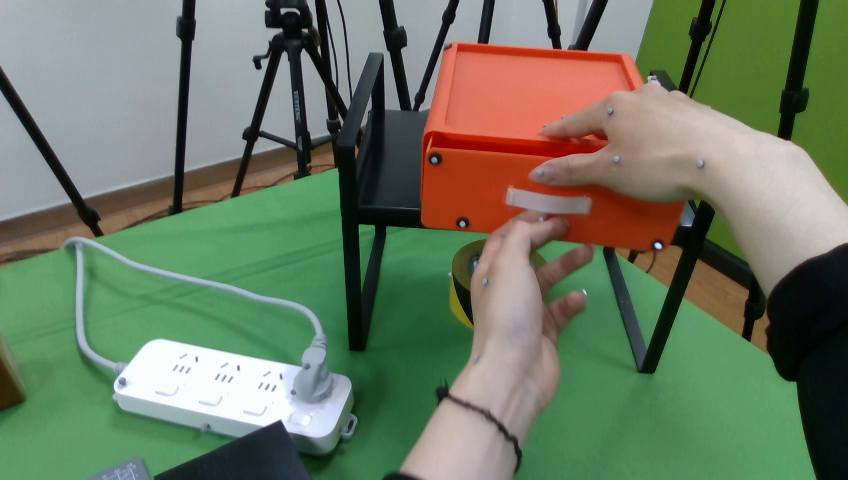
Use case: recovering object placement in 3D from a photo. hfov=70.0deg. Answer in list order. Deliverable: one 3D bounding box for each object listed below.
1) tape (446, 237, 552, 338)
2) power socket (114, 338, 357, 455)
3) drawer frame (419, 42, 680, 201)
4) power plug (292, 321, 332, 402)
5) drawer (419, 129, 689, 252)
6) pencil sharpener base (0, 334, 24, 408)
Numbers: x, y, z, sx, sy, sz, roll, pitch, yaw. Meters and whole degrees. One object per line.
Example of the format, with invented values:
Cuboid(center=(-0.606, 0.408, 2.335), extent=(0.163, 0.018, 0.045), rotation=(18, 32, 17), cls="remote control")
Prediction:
Cuboid(center=(0.083, 0.051, 0.681), extent=(0.117, 0.053, 0.115), rotation=(2, 38, -2), cls="tape")
Cuboid(center=(-0.173, 0.141, 0.556), extent=(0.226, 0.033, 0.071), rotation=(9, 37, 9), cls="power socket")
Cuboid(center=(0.105, -0.107, 0.567), extent=(0.201, 0.083, 0.211), rotation=(4, 36, 2), cls="drawer frame")
Cuboid(center=(-0.093, 0.118, 0.554), extent=(0.035, 0.053, 0.072), rotation=(17, 40, 17), cls="power plug")
Cuboid(center=(0.103, -0.084, 0.538), extent=(0.194, 0.074, 0.210), rotation=(6, 34, 3), cls="drawer")
Cuboid(center=(-0.410, 0.104, 0.524), extent=(0.077, 0.108, 0.060), rotation=(-24, 45, -30), cls="pencil sharpener base")
